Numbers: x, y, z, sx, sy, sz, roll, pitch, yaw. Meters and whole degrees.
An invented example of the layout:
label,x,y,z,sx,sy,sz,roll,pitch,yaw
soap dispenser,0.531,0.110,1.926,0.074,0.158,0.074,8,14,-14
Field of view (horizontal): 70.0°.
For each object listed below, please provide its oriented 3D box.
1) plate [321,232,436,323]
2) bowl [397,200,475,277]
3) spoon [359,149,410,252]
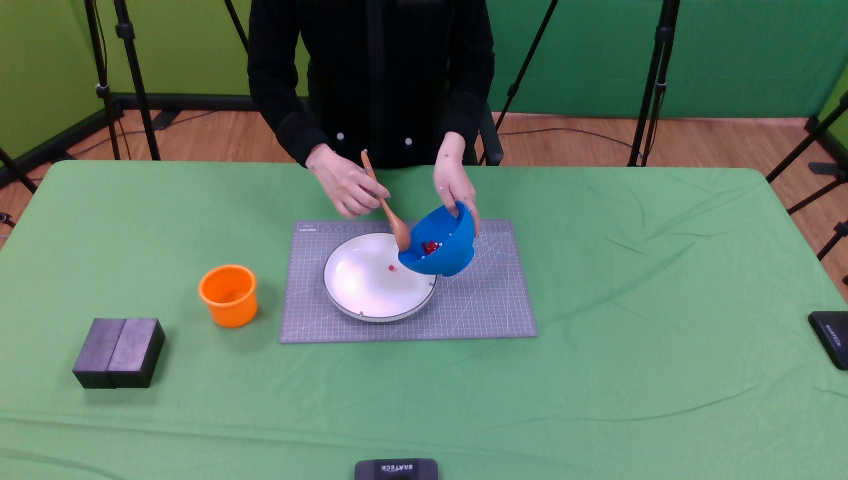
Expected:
label,x,y,z,sx,sy,sz,roll,pitch,yaw
plate,-0.083,0.070,1.109,0.209,0.038,0.208,3,46,-3
bowl,0.035,0.011,1.045,0.151,0.077,0.150,-35,23,18
spoon,-0.068,-0.065,1.032,0.021,0.194,0.041,-9,26,42
